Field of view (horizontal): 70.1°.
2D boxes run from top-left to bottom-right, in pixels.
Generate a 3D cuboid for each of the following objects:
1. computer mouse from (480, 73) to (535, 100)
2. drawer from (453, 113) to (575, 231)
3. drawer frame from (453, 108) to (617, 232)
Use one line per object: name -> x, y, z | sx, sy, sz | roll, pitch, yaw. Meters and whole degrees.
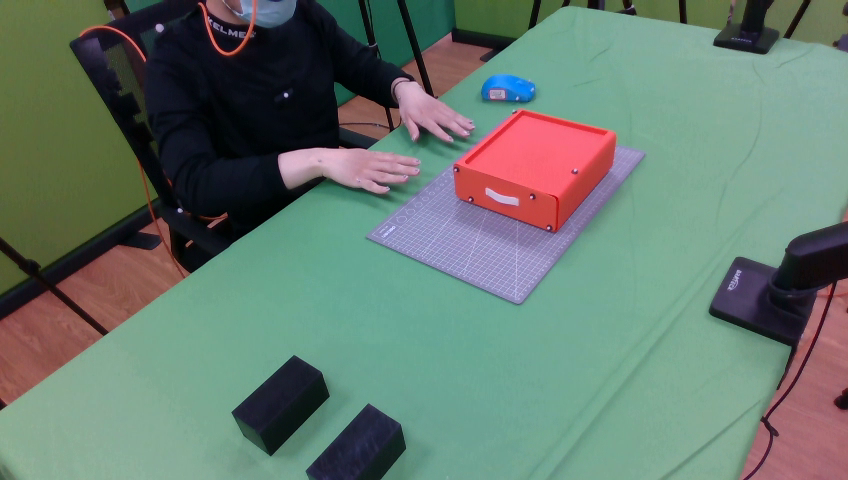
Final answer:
computer mouse -> 0.183, -0.335, 1.320 | 0.117, 0.041, 0.063 | 11, 42, 14
drawer -> 0.188, -0.126, 1.038 | 0.193, 0.073, 0.212 | 22, 48, 31
drawer frame -> 0.190, -0.128, 1.039 | 0.200, 0.083, 0.214 | 21, 47, 30
